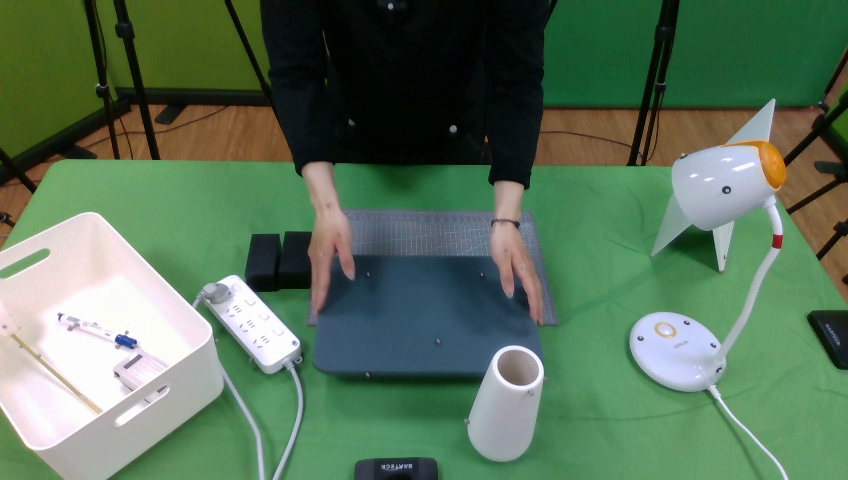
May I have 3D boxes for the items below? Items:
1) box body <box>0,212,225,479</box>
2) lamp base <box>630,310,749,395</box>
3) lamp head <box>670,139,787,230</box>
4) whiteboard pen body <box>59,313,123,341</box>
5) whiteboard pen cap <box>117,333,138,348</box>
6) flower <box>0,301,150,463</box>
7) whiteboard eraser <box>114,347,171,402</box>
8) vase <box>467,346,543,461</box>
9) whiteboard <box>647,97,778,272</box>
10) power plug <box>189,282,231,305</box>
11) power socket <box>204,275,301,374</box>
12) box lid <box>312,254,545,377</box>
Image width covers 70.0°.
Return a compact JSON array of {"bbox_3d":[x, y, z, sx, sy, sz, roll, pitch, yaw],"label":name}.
[{"bbox_3d":[-0.506,0.155,0.915,0.362,0.161,0.254,35,54,26],"label":"box body"},{"bbox_3d":[0.447,0.143,0.984,0.161,0.181,0.178,-24,55,-24],"label":"lamp base"},{"bbox_3d":[0.415,-0.079,0.811,0.113,0.123,0.112,12,70,-37],"label":"lamp head"},{"bbox_3d":[-0.544,0.148,1.009,0.140,0.017,0.017,17,47,8],"label":"whiteboard pen body"},{"bbox_3d":[-0.489,0.165,0.996,0.033,0.018,0.018,17,47,10],"label":"whiteboard pen cap"},{"bbox_3d":[-0.552,0.221,0.938,0.361,0.038,0.044,39,63,9],"label":"flower"},{"bbox_3d":[-0.420,0.215,0.936,0.112,0.042,0.055,25,48,22],"label":"whiteboard eraser"},{"bbox_3d":[0.116,0.235,0.861,0.098,0.201,0.097,1,47,-1],"label":"vase"},{"bbox_3d":[0.602,-0.079,1.162,0.144,0.306,0.216,35,51,2],"label":"whiteboard"},{"bbox_3d":[-0.368,0.097,1.038,0.072,0.053,0.035,-27,54,-21],"label":"power plug"},{"bbox_3d":[-0.296,0.140,1.035,0.072,0.033,0.225,-33,57,-29],"label":"power socket"},{"bbox_3d":[0.004,0.119,1.026,0.372,0.015,0.261,1,42,-2],"label":"box lid"}]
